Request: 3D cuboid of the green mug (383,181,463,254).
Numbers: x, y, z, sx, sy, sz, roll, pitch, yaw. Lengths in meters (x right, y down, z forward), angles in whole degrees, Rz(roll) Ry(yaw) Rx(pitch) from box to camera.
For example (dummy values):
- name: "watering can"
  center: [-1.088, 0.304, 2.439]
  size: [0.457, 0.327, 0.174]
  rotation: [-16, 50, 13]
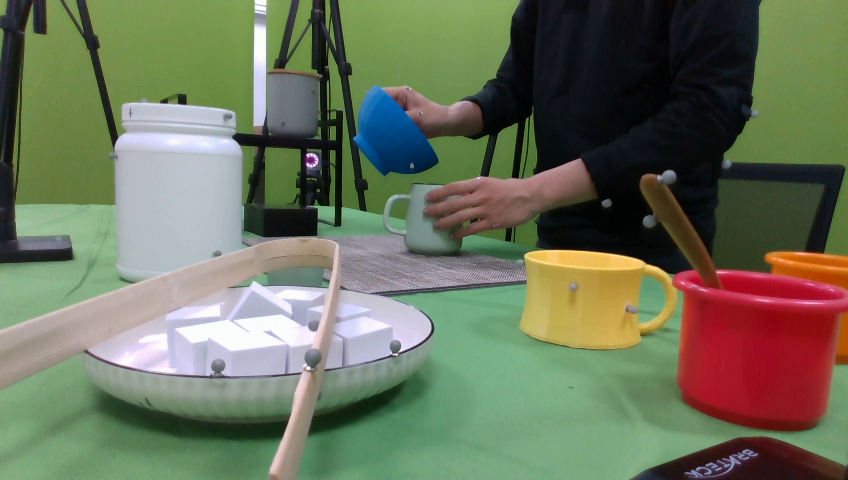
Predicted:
- name: "green mug"
  center: [-0.001, -0.036, 0.921]
  size: [0.126, 0.105, 0.092]
  rotation: [0, 8, -16]

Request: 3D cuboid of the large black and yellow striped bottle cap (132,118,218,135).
- name: "large black and yellow striped bottle cap"
  center: [-0.359, -0.164, 0.875]
  size: [0.115, 0.019, 0.115]
  rotation: [2, 6, 0]

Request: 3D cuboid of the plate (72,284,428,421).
- name: "plate"
  center: [-0.102, 0.067, 0.381]
  size: [0.208, 0.039, 0.207]
  rotation: [3, 7, 0]

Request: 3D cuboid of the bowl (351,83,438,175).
- name: "bowl"
  center: [-0.056, -0.151, 0.911]
  size: [0.077, 0.151, 0.151]
  rotation: [-41, 12, -2]

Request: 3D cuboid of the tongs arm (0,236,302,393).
- name: "tongs arm"
  center: [-0.157, 0.038, 0.347]
  size: [0.028, 0.028, 0.388]
  rotation: [-3, 8, 11]

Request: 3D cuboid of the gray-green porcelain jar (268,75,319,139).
- name: "gray-green porcelain jar"
  center: [-0.277, -0.279, 1.280]
  size: [0.106, 0.126, 0.106]
  rotation: [2, 8, 0]

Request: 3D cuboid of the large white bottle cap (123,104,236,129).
- name: "large white bottle cap"
  center: [-0.266, -0.135, 0.663]
  size: [0.115, 0.018, 0.115]
  rotation: [3, 7, 0]

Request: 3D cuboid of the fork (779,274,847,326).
- name: "fork"
  center: [0.332, 0.019, 0.443]
  size: [0.028, 0.018, 0.207]
  rotation: [-3, -35, -16]

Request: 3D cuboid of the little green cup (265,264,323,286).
- name: "little green cup"
  center: [-0.134, 0.034, 0.628]
  size: [0.061, 0.038, 0.061]
  rotation: [3, 6, 0]

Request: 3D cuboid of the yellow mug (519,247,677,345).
- name: "yellow mug"
  center: [0.148, 0.045, 0.513]
  size: [0.131, 0.064, 0.100]
  rotation: [3, 7, 0]

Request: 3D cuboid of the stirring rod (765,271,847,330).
- name: "stirring rod"
  center: [0.352, 0.020, 0.481]
  size: [0.176, 0.006, 0.014]
  rotation: [-40, -8, 17]

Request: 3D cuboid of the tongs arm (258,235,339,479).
- name: "tongs arm"
  center: [-0.074, 0.040, 0.345]
  size: [0.051, 0.026, 0.384]
  rotation: [-1, 10, -3]

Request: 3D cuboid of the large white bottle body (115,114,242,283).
- name: "large white bottle body"
  center: [-0.270, -0.051, 0.673]
  size: [0.131, 0.184, 0.130]
  rotation: [2, 8, 0]

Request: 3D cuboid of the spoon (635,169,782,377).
- name: "spoon"
  center: [0.161, 0.026, 0.346]
  size: [0.021, 0.194, 0.041]
  rotation: [-51, 32, -20]

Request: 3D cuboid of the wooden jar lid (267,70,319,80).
- name: "wooden jar lid"
  center: [-0.275, -0.339, 1.271]
  size: [0.108, 0.020, 0.108]
  rotation: [5, 6, 0]

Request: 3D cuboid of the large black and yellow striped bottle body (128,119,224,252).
- name: "large black and yellow striped bottle body"
  center: [-0.361, -0.081, 0.887]
  size: [0.131, 0.184, 0.130]
  rotation: [2, 8, 0]
